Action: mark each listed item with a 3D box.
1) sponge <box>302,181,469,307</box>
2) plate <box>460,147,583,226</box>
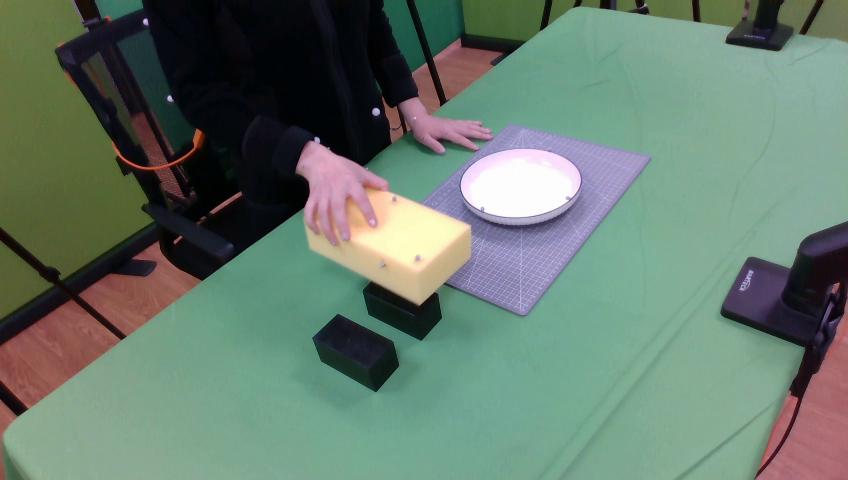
[{"bbox_3d":[-0.054,-0.001,0.850,0.205,0.061,0.118,24,47,28],"label":"sponge"},{"bbox_3d":[0.166,-0.089,1.043,0.209,0.038,0.208,-5,40,5],"label":"plate"}]
